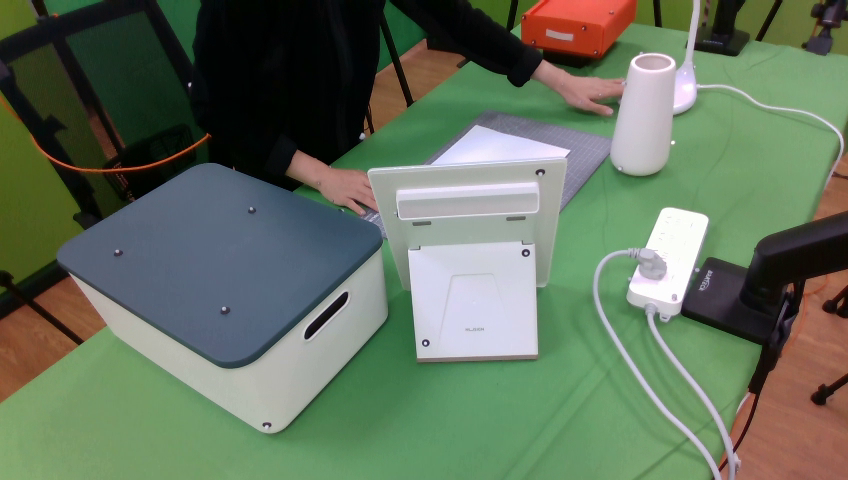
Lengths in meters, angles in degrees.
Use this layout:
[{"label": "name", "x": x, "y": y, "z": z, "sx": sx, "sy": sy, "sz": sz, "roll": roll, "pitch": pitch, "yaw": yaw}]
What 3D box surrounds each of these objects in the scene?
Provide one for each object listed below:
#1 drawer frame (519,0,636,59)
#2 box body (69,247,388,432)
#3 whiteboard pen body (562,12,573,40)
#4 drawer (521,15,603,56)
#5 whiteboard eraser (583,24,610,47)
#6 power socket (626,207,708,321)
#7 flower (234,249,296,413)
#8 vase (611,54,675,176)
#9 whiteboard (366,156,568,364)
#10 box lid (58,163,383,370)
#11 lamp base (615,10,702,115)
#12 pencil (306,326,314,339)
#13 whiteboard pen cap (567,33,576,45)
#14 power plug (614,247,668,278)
[{"label": "drawer frame", "x": 0.362, "y": -0.518, "z": 1.423, "sx": 0.200, "sy": 0.083, "sz": 0.214, "roll": 19, "pitch": 48, "yaw": 29}, {"label": "box body", "x": -0.256, "y": 0.065, "z": 0.827, "sx": 0.361, "sy": 0.161, "sz": 0.255, "roll": 20, "pitch": 48, "yaw": 29}, {"label": "whiteboard pen body", "x": 0.340, "y": -0.505, "z": 1.431, "sx": 0.017, "sy": 0.017, "sz": 0.140, "roll": -1, "pitch": 44, "yaw": 7}, {"label": "drawer", "x": 0.359, "y": -0.516, "z": 1.417, "sx": 0.193, "sy": 0.073, "sz": 0.212, "roll": 20, "pitch": 46, "yaw": 29}, {"label": "whiteboard eraser", "x": 0.407, "y": -0.479, "z": 1.423, "sx": 0.055, "sy": 0.042, "sz": 0.113, "roll": -3, "pitch": 10, "yaw": 20}, {"label": "power socket", "x": 0.359, "y": 0.025, "z": 0.886, "sx": 0.072, "sy": 0.033, "sz": 0.227, "roll": 16, "pitch": 46, "yaw": 26}, {"label": "flower", "x": -0.244, "y": 0.109, "z": 0.870, "sx": 0.044, "sy": 0.038, "sz": 0.358, "roll": 10, "pitch": 26, "yaw": -32}, {"label": "vase", "x": 0.377, "y": -0.209, "z": 1.031, "sx": 0.098, "sy": 0.201, "sz": 0.097, "roll": -3, "pitch": 40, "yaw": 3}, {"label": "whiteboard", "x": 0.059, "y": 0.050, "z": 0.738, "sx": 0.217, "sy": 0.307, "sz": 0.143, "roll": -2, "pitch": 60, "yaw": 6}, {"label": "box lid", "x": -0.262, "y": 0.010, "z": 0.777, "sx": 0.369, "sy": 0.015, "sz": 0.264, "roll": 21, "pitch": 47, "yaw": 29}, {"label": "lamp base", "x": 0.484, "y": -0.363, "z": 1.211, "sx": 0.180, "sy": 0.181, "sz": 0.159, "roll": -15, "pitch": 42, "yaw": -13}, {"label": "pencil", "x": -0.187, "y": 0.106, "z": 0.880, "sx": 0.012, "sy": 0.012, "sz": 0.192, "roll": -27, "pitch": 41, "yaw": -22}, {"label": "whiteboard pen cap", "x": 0.339, "y": -0.463, "z": 1.390, "sx": 0.018, "sy": 0.018, "sz": 0.033, "roll": -2, "pitch": 44, "yaw": 5}, {"label": "power plug", "x": 0.306, "y": 0.031, "z": 0.851, "sx": 0.072, "sy": 0.053, "sz": 0.035, "roll": 24, "pitch": 49, "yaw": 33}]
